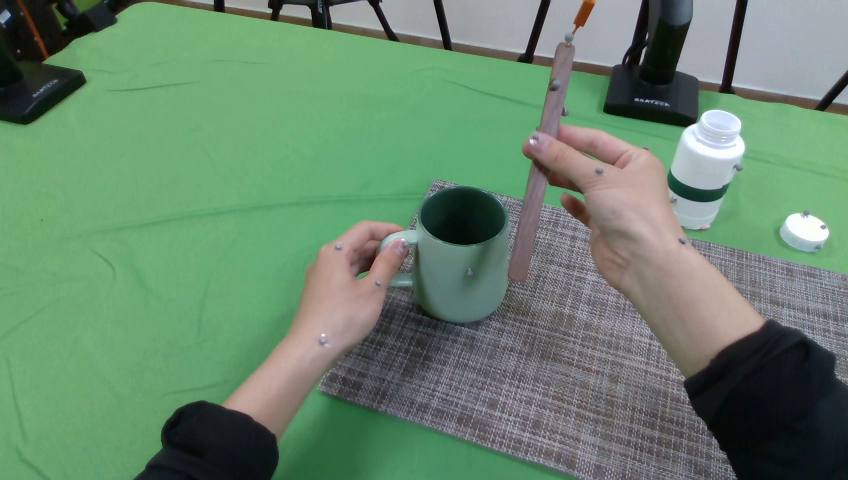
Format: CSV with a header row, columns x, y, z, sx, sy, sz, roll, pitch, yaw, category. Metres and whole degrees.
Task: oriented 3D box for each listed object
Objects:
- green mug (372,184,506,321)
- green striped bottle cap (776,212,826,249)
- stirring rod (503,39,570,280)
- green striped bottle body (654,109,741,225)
x,y,z,sx,sy,sz,roll,pitch,yaw,category
0.015,0.016,0.553,0.125,0.106,0.091,-8,46,-8,green mug
0.404,-0.011,0.649,0.044,0.020,0.044,1,42,-1,green striped bottle cap
0.081,-0.058,0.435,0.014,0.006,0.176,12,89,-8,stirring rod
0.290,-0.078,0.642,0.063,0.120,0.062,0,46,0,green striped bottle body
